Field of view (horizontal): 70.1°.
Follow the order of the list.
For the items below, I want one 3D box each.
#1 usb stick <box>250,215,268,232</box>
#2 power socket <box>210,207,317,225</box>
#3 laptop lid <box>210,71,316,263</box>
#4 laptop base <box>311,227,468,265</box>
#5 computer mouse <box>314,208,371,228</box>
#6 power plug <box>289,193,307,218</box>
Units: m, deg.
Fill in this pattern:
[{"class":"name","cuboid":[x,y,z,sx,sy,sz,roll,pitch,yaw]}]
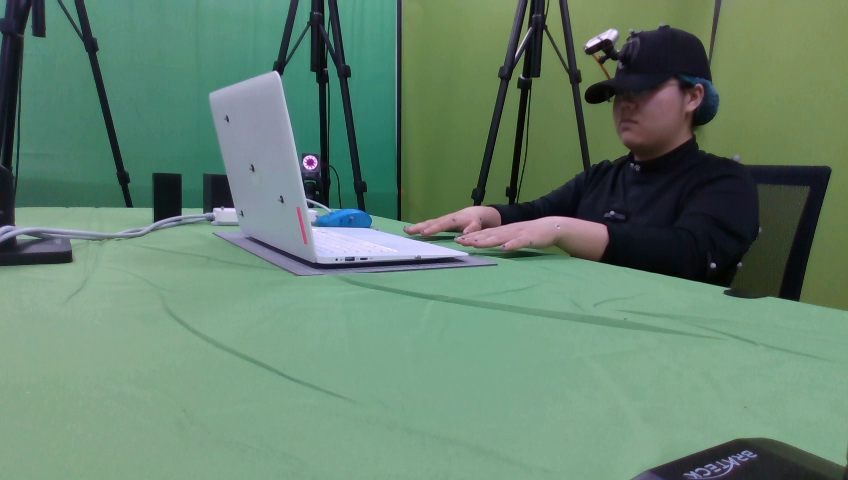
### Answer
[{"class":"usb stick","cuboid":[-0.290,-0.028,1.069,0.021,0.027,0.059,0,11,-30]},{"class":"power socket","cuboid":[-0.335,-0.051,1.281,0.228,0.032,0.072,-1,8,-28]},{"class":"laptop lid","cuboid":[-0.241,-0.104,0.861,0.013,0.241,0.355,-16,17,-29]},{"class":"laptop base","cuboid":[-0.123,0.007,0.952,0.237,0.023,0.352,2,6,-32]},{"class":"computer mouse","cuboid":[-0.173,-0.046,1.284,0.118,0.041,0.062,-7,13,-30]},{"class":"power plug","cuboid":[-0.281,-0.076,1.341,0.035,0.052,0.072,3,7,-17]}]
